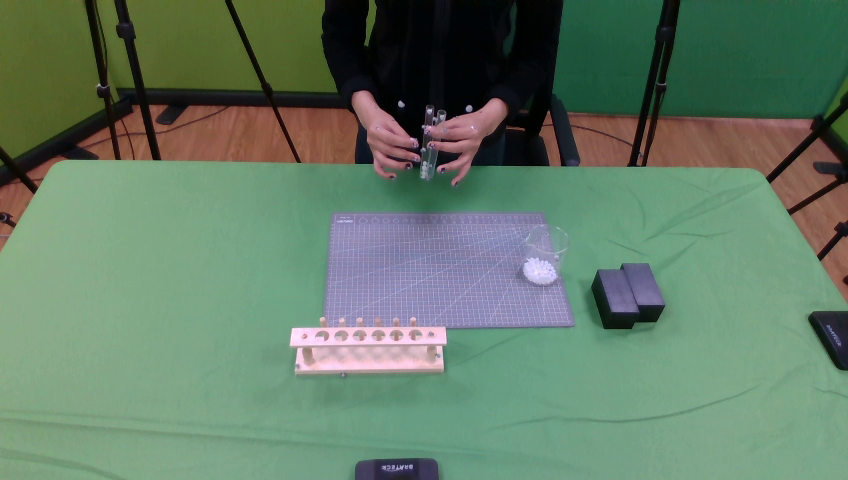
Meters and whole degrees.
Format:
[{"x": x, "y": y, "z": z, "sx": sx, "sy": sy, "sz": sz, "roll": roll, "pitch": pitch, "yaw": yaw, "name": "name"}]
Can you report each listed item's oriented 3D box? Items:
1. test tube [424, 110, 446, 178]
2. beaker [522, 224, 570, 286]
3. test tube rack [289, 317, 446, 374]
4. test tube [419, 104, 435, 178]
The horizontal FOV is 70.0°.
[{"x": 0.019, "y": -0.167, "z": 1.077, "sx": 0.017, "sy": 0.151, "sz": 0.017, "roll": 6, "pitch": 48, "yaw": -6, "name": "test tube"}, {"x": 0.221, "y": 0.032, "z": 1.129, "sx": 0.084, "sy": 0.101, "sz": 0.073, "roll": -6, "pitch": 46, "yaw": -9, "name": "beaker"}, {"x": -0.089, "y": 0.167, "z": 0.988, "sx": 0.242, "sy": 0.085, "sz": 0.066, "roll": 0, "pitch": 46, "yaw": -4, "name": "test tube rack"}, {"x": 0.004, "y": -0.176, "z": 1.103, "sx": 0.017, "sy": 0.151, "sz": 0.017, "roll": 5, "pitch": 39, "yaw": -3, "name": "test tube"}]
